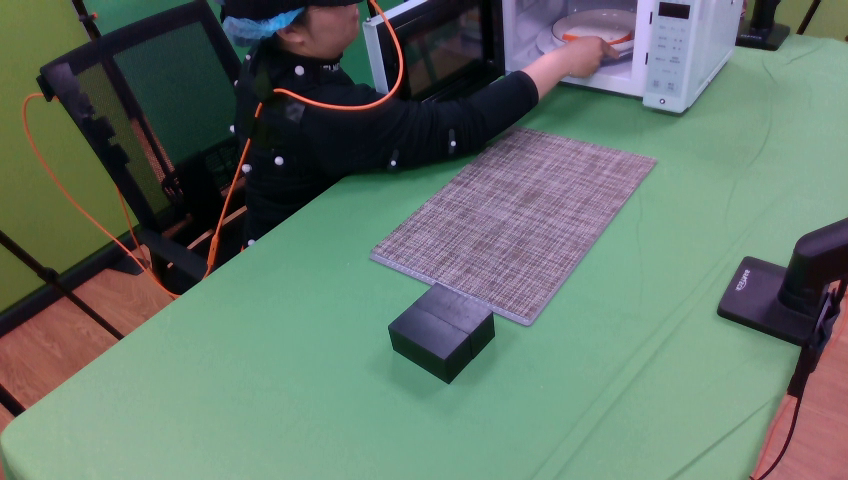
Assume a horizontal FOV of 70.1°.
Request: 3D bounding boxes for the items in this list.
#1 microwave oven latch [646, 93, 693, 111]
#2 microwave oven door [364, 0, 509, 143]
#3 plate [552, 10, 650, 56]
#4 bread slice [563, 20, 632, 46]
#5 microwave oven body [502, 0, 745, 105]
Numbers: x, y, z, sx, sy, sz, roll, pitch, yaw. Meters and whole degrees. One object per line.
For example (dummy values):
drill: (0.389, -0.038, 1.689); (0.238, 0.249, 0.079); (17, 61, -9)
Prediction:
microwave oven latch: (0.477, -0.273, 1.177); (0.078, 0.029, 0.030); (22, 50, 33)
microwave oven door: (0.042, -0.385, 1.237); (0.357, 0.245, 0.039); (-37, 47, -29)
plate: (0.390, -0.454, 1.339); (0.209, 0.038, 0.208); (-6, 39, 5)
bread slice: (0.393, -0.454, 1.342); (0.105, 0.019, 0.130); (-35, 44, -26)
microwave oven body: (0.416, -0.486, 1.290); (0.438, 0.261, 0.327); (21, 50, 33)
